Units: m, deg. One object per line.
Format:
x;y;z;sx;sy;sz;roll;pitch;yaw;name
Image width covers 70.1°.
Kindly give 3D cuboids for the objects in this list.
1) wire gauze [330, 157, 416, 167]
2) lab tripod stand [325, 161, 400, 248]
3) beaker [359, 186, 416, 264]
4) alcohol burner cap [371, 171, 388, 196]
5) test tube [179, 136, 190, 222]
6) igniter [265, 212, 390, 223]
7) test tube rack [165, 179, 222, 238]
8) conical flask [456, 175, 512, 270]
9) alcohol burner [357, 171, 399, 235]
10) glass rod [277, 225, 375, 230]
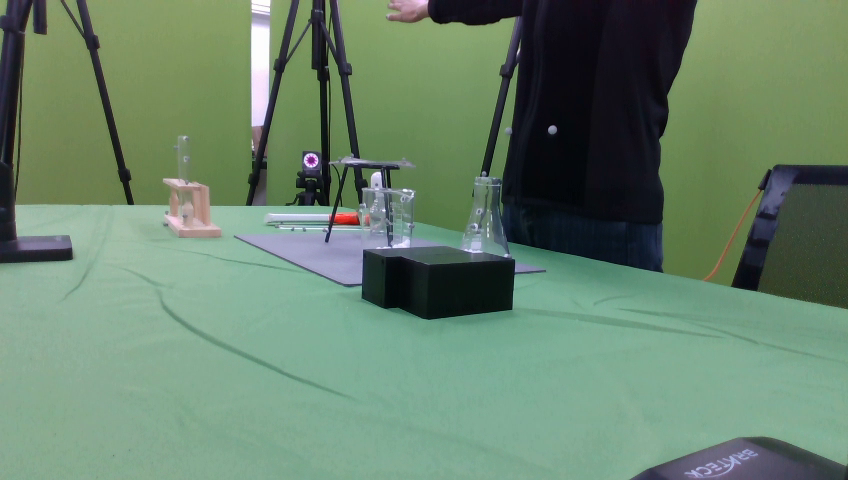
-0.079;-0.126;0.972;0.121;0.011;0.125;4;8;5;wire gauze
-0.083;-0.060;0.977;0.148;0.131;0.148;4;8;0;lab tripod stand
-0.048;-0.020;0.817;0.083;0.100;0.074;10;10;41;beaker
-0.085;-0.104;1.121;0.034;0.048;0.034;-5;8;1;alcohol burner cap
-0.416;-0.105;1.052;0.017;0.150;0.017;0;4;0;test tube
-0.196;-0.048;1.286;0.278;0.025;0.057;-2;-2;-30;igniter
-0.423;-0.062;1.098;0.067;0.085;0.241;-2;9;-28;test tube rack
0.082;-0.025;0.801;0.075;0.122;0.075;2;7;0;conical flask
-0.085;-0.069;1.125;0.078;0.119;0.078;3;10;0;alcohol burner
-0.187;-0.024;1.178;0.201;0.008;0.008;1;6;-31;glass rod
